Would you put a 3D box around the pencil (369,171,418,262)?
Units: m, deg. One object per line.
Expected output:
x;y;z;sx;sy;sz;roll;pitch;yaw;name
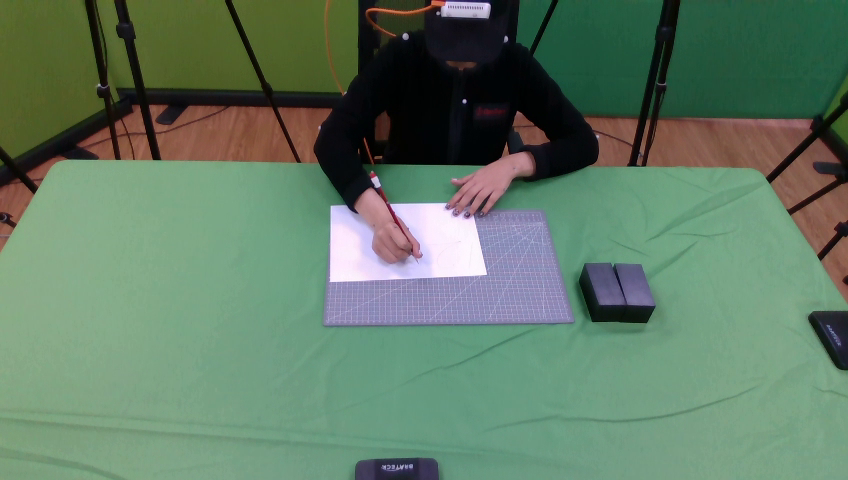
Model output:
-0.055;-0.041;1.129;0.012;0.194;0.012;-25;15;7;pencil
